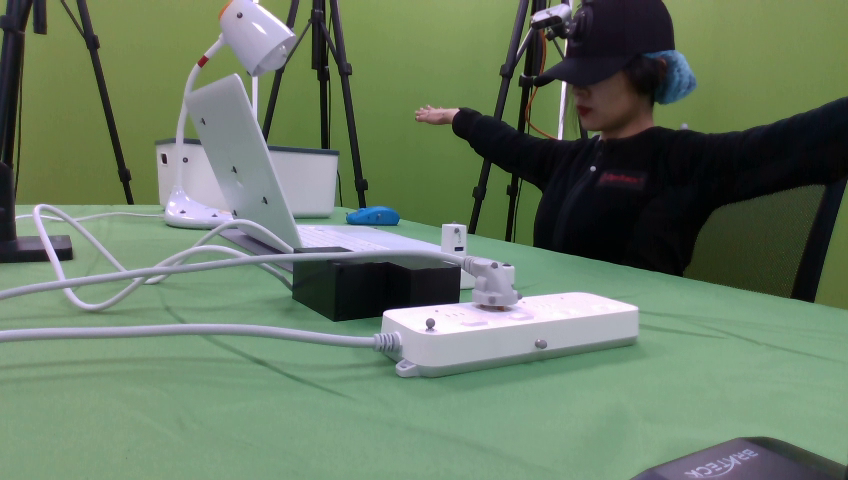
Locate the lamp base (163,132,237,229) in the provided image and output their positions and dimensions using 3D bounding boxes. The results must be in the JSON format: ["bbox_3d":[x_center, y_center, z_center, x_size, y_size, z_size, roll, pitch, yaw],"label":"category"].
[{"bbox_3d":[-0.419,-0.116,1.156,0.179,0.180,0.160,0,7,0],"label":"lamp base"}]

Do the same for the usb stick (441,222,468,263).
[{"bbox_3d":[0.034,0.009,0.685,0.021,0.059,0.027,-2,10,-30],"label":"usb stick"}]

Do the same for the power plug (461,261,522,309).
[{"bbox_3d":[0.043,0.043,0.444,0.035,0.052,0.073,-5,8,44],"label":"power plug"}]

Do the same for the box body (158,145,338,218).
[{"bbox_3d":[-0.410,-0.139,1.414,0.366,0.160,0.253,-3,8,-33],"label":"box body"}]

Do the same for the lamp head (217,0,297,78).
[{"bbox_3d":[-0.315,-0.372,1.102,0.123,0.112,0.112,41,2,-9],"label":"lamp head"}]

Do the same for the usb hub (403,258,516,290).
[{"bbox_3d":[0.042,0.038,0.690,0.126,0.025,0.049,-2,9,-30],"label":"usb hub"}]

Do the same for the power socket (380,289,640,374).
[{"bbox_3d":[0.072,0.064,0.461,0.228,0.032,0.072,-3,7,-30],"label":"power socket"}]

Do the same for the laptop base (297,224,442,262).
[{"bbox_3d":[-0.127,0.003,0.946,0.237,0.023,0.352,2,6,-31],"label":"laptop base"}]

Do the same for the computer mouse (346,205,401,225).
[{"bbox_3d":[-0.112,-0.055,1.335,0.118,0.041,0.062,-5,11,-21],"label":"computer mouse"}]

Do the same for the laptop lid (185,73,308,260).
[{"bbox_3d":[-0.262,-0.101,0.850,0.013,0.242,0.355,-26,21,-25],"label":"laptop lid"}]

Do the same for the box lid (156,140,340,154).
[{"bbox_3d":[-0.409,-0.213,1.404,0.373,0.015,0.262,-2,8,-32],"label":"box lid"}]

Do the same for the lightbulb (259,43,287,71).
[{"bbox_3d":[-0.295,-0.358,1.103,0.059,0.107,0.059,-37,0,0],"label":"lightbulb"}]
